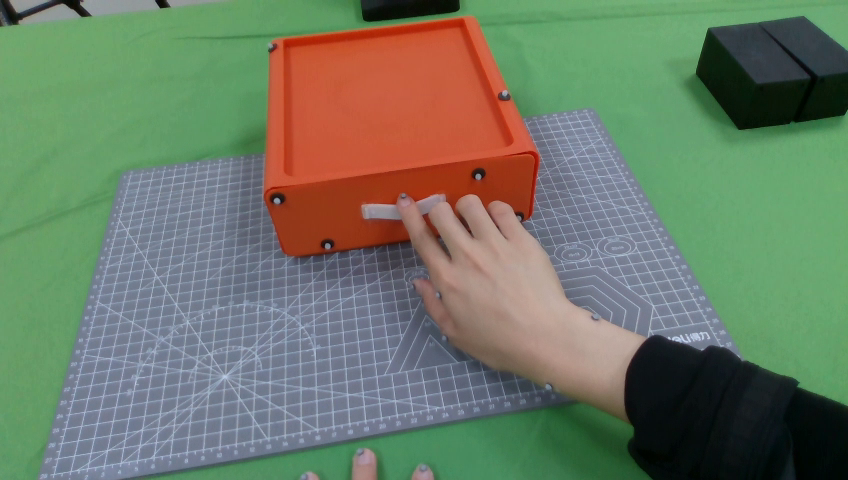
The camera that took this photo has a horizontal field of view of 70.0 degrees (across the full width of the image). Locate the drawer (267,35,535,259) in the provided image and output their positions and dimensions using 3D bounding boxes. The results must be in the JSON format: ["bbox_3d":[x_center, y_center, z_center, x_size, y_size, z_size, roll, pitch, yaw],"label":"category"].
[{"bbox_3d":[-0.028,-0.091,0.522,0.195,0.074,0.209,-9,46,-3],"label":"drawer"}]

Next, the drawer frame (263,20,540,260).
[{"bbox_3d":[-0.028,-0.094,0.522,0.202,0.083,0.211,-9,46,-4],"label":"drawer frame"}]

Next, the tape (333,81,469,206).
[{"bbox_3d":[-0.020,-0.086,0.525,0.117,0.053,0.115,-2,47,2],"label":"tape"}]
